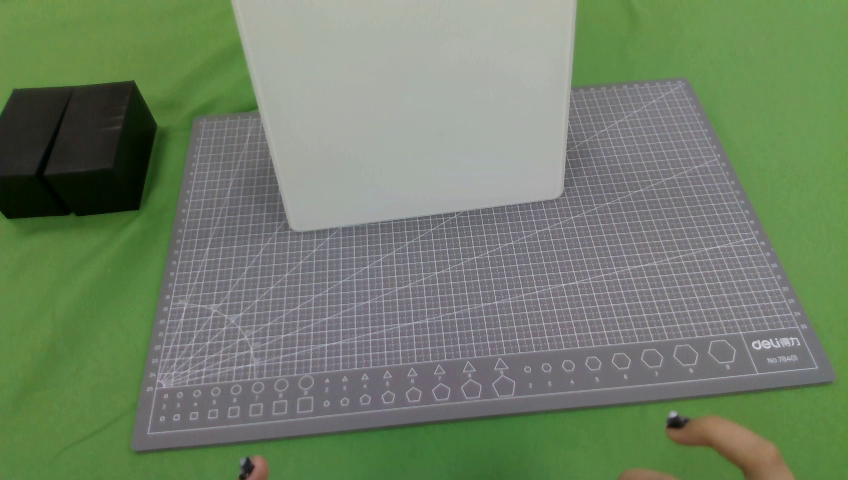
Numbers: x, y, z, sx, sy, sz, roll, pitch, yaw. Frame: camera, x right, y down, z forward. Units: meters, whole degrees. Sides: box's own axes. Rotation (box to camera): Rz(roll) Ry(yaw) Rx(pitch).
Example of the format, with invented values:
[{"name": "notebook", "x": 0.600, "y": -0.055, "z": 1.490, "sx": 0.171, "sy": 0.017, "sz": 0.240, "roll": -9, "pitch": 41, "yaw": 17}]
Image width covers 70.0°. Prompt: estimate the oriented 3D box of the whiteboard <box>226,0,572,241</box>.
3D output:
[{"name": "whiteboard", "x": -0.017, "y": -0.177, "z": 0.438, "sx": 0.217, "sy": 0.308, "sz": 0.142, "roll": -7, "pitch": 35, "yaw": -3}]
